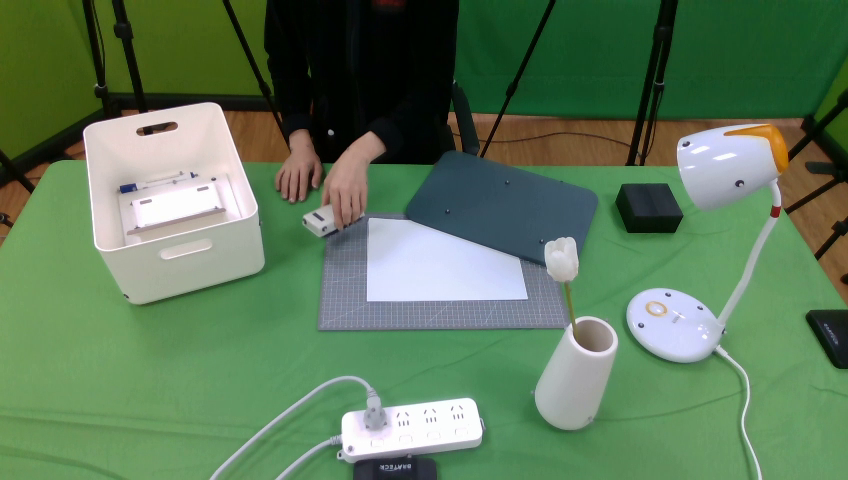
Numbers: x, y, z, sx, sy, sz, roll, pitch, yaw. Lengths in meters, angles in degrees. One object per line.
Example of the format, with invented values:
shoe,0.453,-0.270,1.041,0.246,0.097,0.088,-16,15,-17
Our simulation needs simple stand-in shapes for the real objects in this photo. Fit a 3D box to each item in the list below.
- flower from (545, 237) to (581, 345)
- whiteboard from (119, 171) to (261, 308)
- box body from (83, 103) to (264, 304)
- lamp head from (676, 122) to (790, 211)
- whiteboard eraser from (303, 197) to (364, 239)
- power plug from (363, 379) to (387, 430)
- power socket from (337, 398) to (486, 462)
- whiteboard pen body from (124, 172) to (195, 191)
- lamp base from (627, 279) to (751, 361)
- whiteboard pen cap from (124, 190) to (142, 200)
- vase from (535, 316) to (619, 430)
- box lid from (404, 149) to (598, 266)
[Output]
flower,0.213,0.137,0.846,0.038,0.364,0.044,22,55,40
whiteboard,-0.464,-0.060,1.137,0.217,0.144,0.303,-19,51,-17
box body,-0.465,-0.077,1.137,0.254,0.161,0.361,-16,50,-19
lamp head,0.423,-0.104,0.819,0.122,0.113,0.112,-13,33,40
whiteboard eraser,-0.174,-0.041,1.169,0.113,0.042,0.055,-29,52,-35
power plug,-0.071,0.252,0.911,0.035,0.053,0.072,3,40,0
power socket,-0.018,0.285,0.914,0.227,0.033,0.071,-4,46,-8
whiteboard pen body,-0.553,-0.121,1.268,0.141,0.017,0.017,-16,50,-18
lamp base,0.460,0.100,1.027,0.178,0.181,0.160,27,51,17
whiteboard pen cap,-0.591,-0.092,1.233,0.033,0.018,0.018,-14,49,-17
vase,0.229,0.200,0.901,0.098,0.201,0.097,3,46,-3
box lid,0.171,-0.073,1.290,0.371,0.015,0.262,19,47,14
